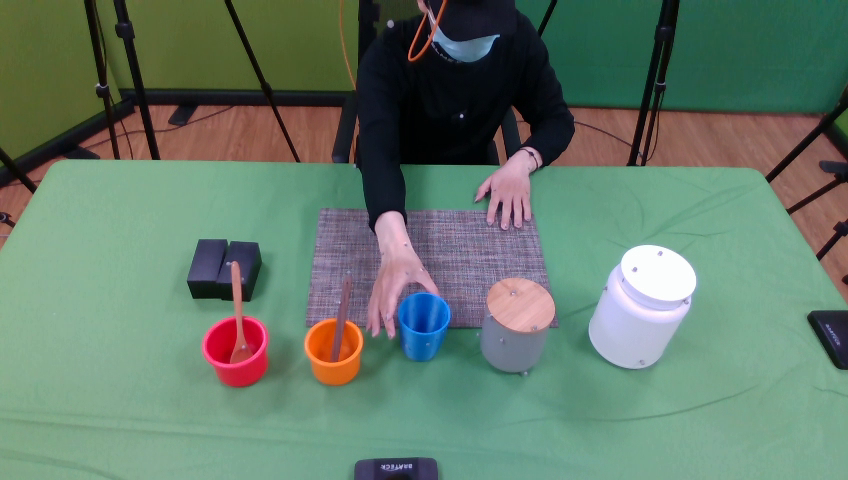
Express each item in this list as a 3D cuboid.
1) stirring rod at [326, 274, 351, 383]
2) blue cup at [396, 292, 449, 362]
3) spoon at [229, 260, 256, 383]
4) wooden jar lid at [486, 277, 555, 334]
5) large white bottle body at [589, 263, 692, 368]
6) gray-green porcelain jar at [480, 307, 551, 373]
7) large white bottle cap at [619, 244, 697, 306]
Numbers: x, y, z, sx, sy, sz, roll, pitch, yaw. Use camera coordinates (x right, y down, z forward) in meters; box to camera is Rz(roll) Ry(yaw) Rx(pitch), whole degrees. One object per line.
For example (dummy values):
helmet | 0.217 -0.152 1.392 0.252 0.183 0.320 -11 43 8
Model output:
stirring rod | -0.137 0.142 0.971 0.014 0.006 0.176 9 88 2
blue cup | -0.005 0.149 0.997 0.093 0.101 0.092 3 46 -3
spoon | -0.295 0.129 0.966 0.042 0.021 0.193 -4 91 -8
wooden jar lid | 0.150 0.105 0.948 0.108 0.021 0.107 3 47 -3
large white bottle body | 0.358 0.111 1.000 0.131 0.185 0.130 2 46 -2
gray-green porcelain jar | 0.148 0.148 0.992 0.106 0.127 0.105 2 46 -2
large white bottle cap | 0.362 0.052 0.939 0.115 0.018 0.114 2 46 -2
